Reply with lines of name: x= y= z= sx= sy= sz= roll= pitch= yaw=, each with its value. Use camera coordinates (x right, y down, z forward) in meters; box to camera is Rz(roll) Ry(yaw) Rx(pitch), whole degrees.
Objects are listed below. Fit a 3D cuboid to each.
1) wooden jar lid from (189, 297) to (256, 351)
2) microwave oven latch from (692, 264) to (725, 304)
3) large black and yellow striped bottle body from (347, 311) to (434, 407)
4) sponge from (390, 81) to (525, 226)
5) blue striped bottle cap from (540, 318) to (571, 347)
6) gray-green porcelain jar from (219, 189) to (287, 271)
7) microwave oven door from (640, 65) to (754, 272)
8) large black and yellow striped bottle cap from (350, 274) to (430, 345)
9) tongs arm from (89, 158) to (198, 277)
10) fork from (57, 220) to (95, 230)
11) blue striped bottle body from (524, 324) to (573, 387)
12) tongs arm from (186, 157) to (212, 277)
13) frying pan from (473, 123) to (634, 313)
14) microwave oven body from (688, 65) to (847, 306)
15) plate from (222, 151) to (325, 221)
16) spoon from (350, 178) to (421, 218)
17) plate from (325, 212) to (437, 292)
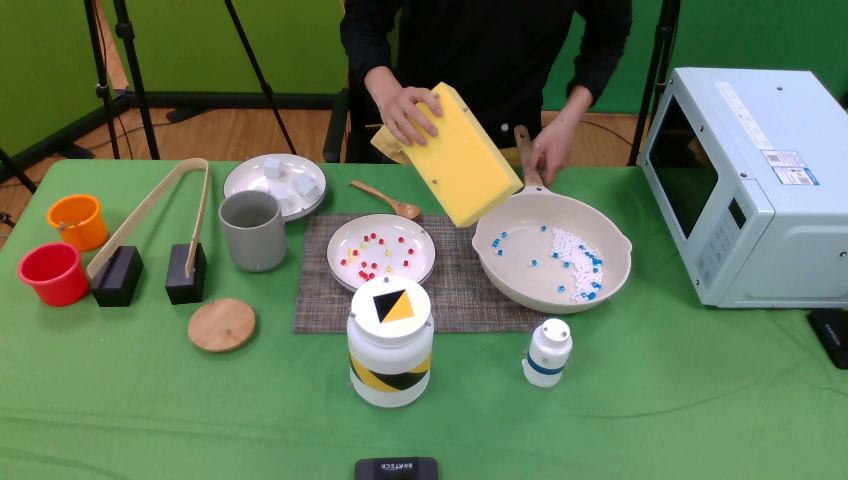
wooden jar lid: x=-0.342 y=0.145 z=1.033 sx=0.108 sy=0.021 sz=0.107 roll=2 pitch=45 yaw=-2
microwave oven latch: x=0.522 y=0.081 z=1.116 sx=0.030 sy=0.029 sz=0.078 roll=1 pitch=46 yaw=-2
large black and yellow striped bottle body: x=-0.052 y=0.157 z=0.930 sx=0.131 sy=0.185 sz=0.130 roll=2 pitch=47 yaw=-2
sponge: x=0.053 y=-0.138 z=0.982 sx=0.206 sy=0.118 sz=0.061 roll=56 pitch=22 yaw=13
blue striped bottle cap: x=0.203 y=0.142 z=0.933 sx=0.044 sy=0.021 sz=0.044 roll=3 pitch=49 yaw=-3
gray-green porcelain jar: x=-0.310 y=-0.014 z=1.113 sx=0.106 sy=0.127 sz=0.105 roll=2 pitch=46 yaw=-2
microwave oven door: x=0.523 y=-0.147 z=1.193 sx=0.039 sy=0.245 sz=0.353 roll=0 pitch=47 yaw=-3
large black and yellow striped bottle cap: x=-0.048 y=0.097 z=0.868 sx=0.115 sy=0.019 sz=0.114 roll=3 pitch=48 yaw=-3
tongs arm: x=-0.529 y=-0.058 z=1.163 sx=0.028 sy=0.028 sz=0.385 roll=1 pitch=36 yaw=7
fork: x=-0.624 y=-0.027 z=1.086 sx=0.028 sy=0.207 sz=0.018 roll=-3 pitch=92 yaw=-17
blue striped bottle body: x=0.200 y=0.178 z=0.970 sx=0.063 sy=0.121 sz=0.062 roll=2 pitch=46 yaw=-2
tongs arm: x=-0.445 y=-0.058 z=1.168 sx=0.051 sy=0.026 sz=0.382 roll=-4 pitch=37 yaw=-6
frying pan: x=0.235 y=-0.061 z=1.208 sx=0.307 sy=0.103 sz=0.484 roll=1 pitch=55 yaw=-6
microwave oven body: x=0.669 y=-0.111 z=1.176 sx=0.326 sy=0.261 sz=0.439 roll=0 pitch=46 yaw=-3
plate: x=-0.310 y=-0.106 z=1.263 sx=0.208 sy=0.039 sz=0.206 roll=2 pitch=47 yaw=-2
spoon: x=-0.084 y=-0.093 z=1.272 sx=0.193 sy=0.022 sz=0.041 roll=31 pitch=69 yaw=25
plate: x=-0.080 y=0.030 z=1.143 sx=0.209 sy=0.038 sz=0.208 roll=3 pitch=46 yaw=-2
